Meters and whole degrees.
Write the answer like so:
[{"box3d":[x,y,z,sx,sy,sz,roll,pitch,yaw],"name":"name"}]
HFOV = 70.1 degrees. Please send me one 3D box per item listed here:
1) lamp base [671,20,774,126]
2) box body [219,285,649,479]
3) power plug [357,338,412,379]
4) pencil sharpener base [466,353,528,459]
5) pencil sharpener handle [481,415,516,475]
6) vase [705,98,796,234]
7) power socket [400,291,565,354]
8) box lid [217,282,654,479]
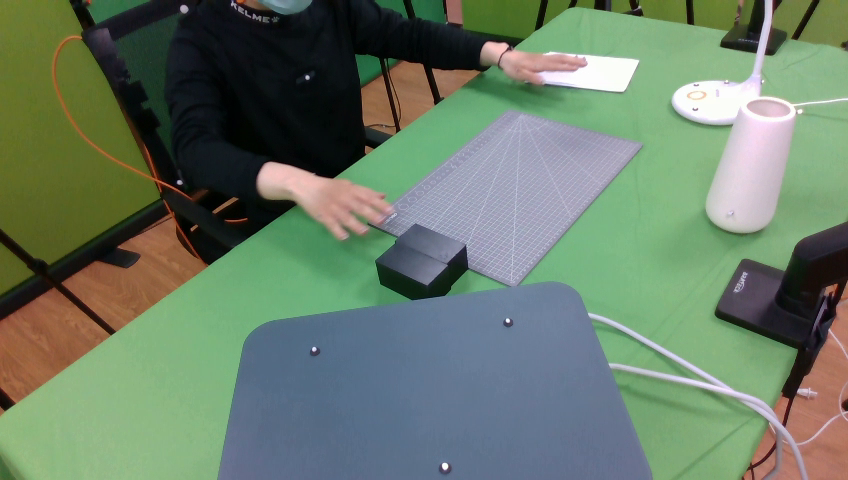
[{"box3d":[0.581,-0.332,1.154,0.179,0.181,0.160,2,41,7],"name":"lamp base"},{"box3d":[0.005,0.209,0.619,0.364,0.161,0.252,-8,40,-1],"name":"box body"},{"box3d":[-0.053,0.159,0.798,0.073,0.035,0.052,20,48,-16],"name":"power plug"},{"box3d":[0.081,0.186,0.665,0.061,0.107,0.076,-4,42,5],"name":"pencil sharpener base"},{"box3d":[0.076,0.211,0.619,0.036,0.068,0.030,1,42,1],"name":"pencil sharpener handle"},{"box3d":[0.480,-0.104,0.889,0.098,0.201,0.097,-4,42,4],"name":"vase"},{"box3d":[0.079,0.111,0.823,0.227,0.033,0.072,-5,41,1],"name":"power socket"},{"box3d":[-0.004,0.154,0.571,0.372,0.015,0.261,-8,40,-1],"name":"box lid"}]
